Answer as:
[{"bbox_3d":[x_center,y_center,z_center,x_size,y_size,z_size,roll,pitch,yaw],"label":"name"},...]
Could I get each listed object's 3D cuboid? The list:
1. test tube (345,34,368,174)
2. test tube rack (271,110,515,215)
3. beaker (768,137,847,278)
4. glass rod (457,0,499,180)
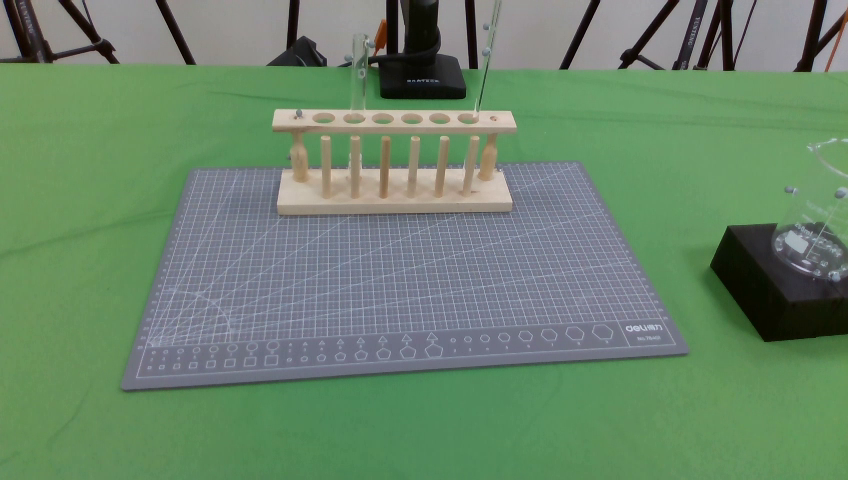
[{"bbox_3d":[-0.068,-0.130,0.604,0.017,0.151,0.017,6,38,-4],"label":"test tube"},{"bbox_3d":[-0.030,-0.081,0.626,0.243,0.086,0.066,-1,40,-6],"label":"test tube rack"},{"bbox_3d":[0.340,-0.026,0.506,0.074,0.101,0.083,-24,47,-30],"label":"beaker"},{"bbox_3d":[0.051,-0.141,0.599,0.008,0.201,0.008,6,42,-5],"label":"glass rod"}]
